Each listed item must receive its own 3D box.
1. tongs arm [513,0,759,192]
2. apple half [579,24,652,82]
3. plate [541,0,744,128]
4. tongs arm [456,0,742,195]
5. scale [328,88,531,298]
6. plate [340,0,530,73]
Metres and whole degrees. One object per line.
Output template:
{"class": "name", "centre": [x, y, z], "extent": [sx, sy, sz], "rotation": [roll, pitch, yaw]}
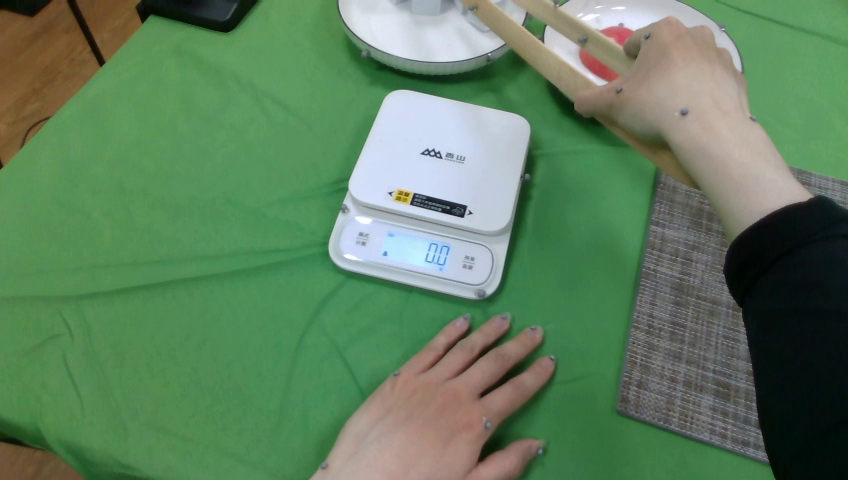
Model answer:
{"class": "tongs arm", "centre": [0.145, -0.167, 0.540], "extent": [0.051, 0.027, 0.380], "rotation": [-20, 48, -20]}
{"class": "apple half", "centre": [0.210, -0.206, 0.645], "extent": [0.081, 0.033, 0.080], "rotation": [0, 53, 0]}
{"class": "plate", "centre": [0.227, -0.191, 0.642], "extent": [0.209, 0.038, 0.207], "rotation": [1, 56, -2]}
{"class": "tongs arm", "centre": [0.116, -0.157, 0.530], "extent": [0.028, 0.028, 0.383], "rotation": [-17, 47, -22]}
{"class": "scale", "centre": [0.011, -0.050, 0.543], "extent": [0.148, 0.032, 0.199], "rotation": [13, 58, 6]}
{"class": "plate", "centre": [0.013, -0.253, 0.674], "extent": [0.208, 0.039, 0.205], "rotation": [1, 56, -1]}
